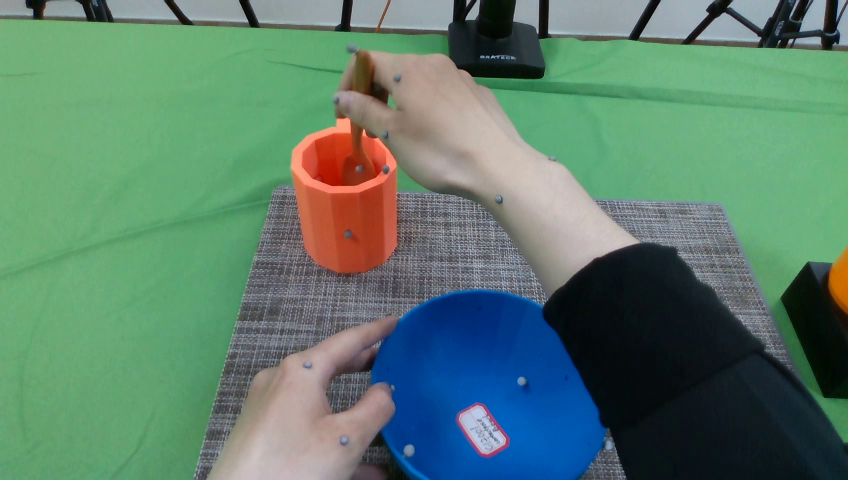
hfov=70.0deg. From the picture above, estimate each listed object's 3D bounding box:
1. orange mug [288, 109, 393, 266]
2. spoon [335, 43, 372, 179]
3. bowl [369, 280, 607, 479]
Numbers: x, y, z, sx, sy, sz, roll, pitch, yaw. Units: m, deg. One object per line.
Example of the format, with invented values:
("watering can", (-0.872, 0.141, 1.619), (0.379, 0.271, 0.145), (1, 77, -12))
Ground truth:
("orange mug", (-0.071, -0.054, 0.535), (0.083, 0.101, 0.125), (-3, 53, -5))
("spoon", (-0.052, -0.084, 0.460), (0.041, 0.194, 0.021), (40, 73, 6))
("bowl", (0.038, 0.109, 0.408), (0.151, 0.077, 0.150), (2, 48, -2))
